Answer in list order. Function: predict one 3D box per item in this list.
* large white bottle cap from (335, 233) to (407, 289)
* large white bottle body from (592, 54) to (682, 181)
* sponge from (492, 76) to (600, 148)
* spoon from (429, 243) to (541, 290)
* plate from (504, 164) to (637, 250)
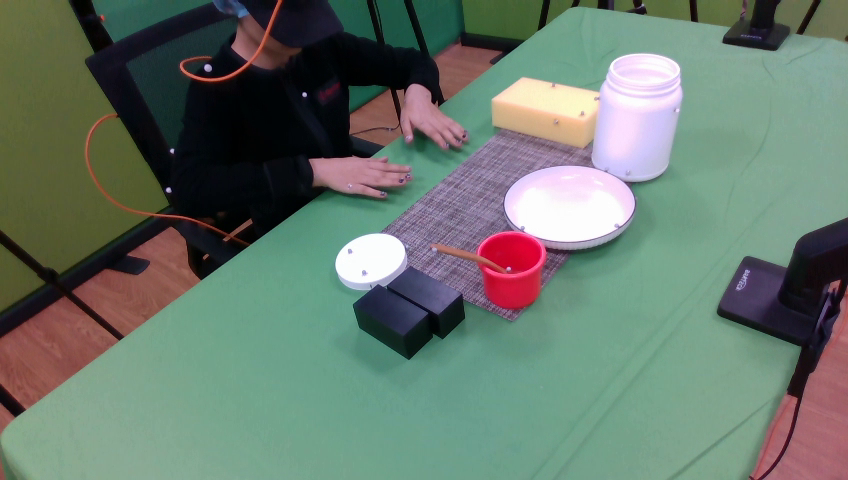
[{"bbox_3d":[-0.084,0.032,0.961,0.115,0.018,0.114,-6,42,6],"label":"large white bottle cap"},{"bbox_3d":[0.360,-0.208,1.027,0.130,0.185,0.130,-3,41,3],"label":"large white bottle body"},{"bbox_3d":[0.254,-0.259,1.207,0.205,0.061,0.118,22,47,31],"label":"sponge"},{"bbox_3d":[0.086,0.033,0.826,0.195,0.021,0.041,23,27,-33],"label":"spoon"},{"bbox_3d":[0.234,-0.051,0.981,0.209,0.038,0.208,-5,40,5],"label":"plate"}]
